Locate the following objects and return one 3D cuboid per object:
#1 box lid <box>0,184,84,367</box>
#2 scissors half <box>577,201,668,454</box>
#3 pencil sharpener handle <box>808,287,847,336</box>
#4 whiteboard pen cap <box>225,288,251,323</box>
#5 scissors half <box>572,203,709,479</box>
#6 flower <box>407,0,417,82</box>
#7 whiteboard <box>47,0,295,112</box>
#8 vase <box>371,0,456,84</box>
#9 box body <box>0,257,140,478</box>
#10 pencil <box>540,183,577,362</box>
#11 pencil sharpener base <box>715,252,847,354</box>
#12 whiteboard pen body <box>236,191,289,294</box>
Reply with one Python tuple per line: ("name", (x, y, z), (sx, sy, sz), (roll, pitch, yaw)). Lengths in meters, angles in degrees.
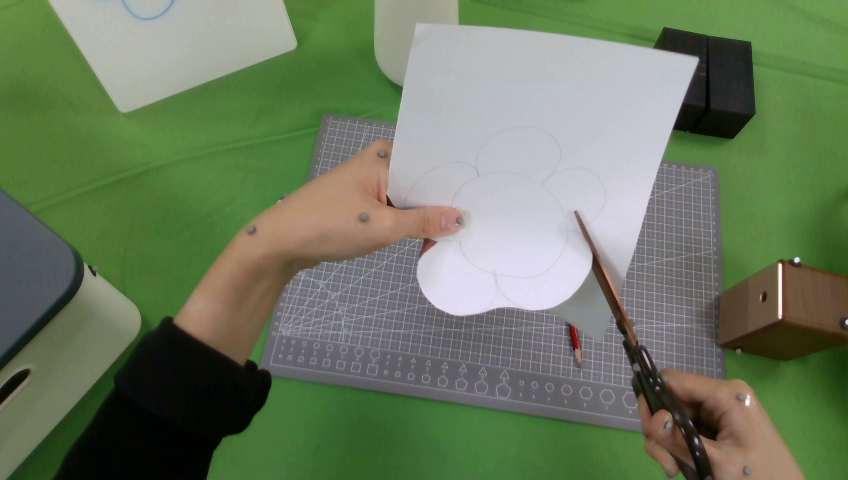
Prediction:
("box lid", (-0.472, 0.013, 0.453), (0.370, 0.015, 0.262), (34, 71, 11))
("scissors half", (0.122, 0.056, 0.369), (0.013, 0.040, 0.176), (-23, 107, 3))
("pencil sharpener handle", (0.386, 0.070, 0.557), (0.030, 0.068, 0.035), (12, 62, 0))
("whiteboard pen cap", (-0.182, 0.064, 0.597), (0.018, 0.018, 0.033), (14, 64, 4))
("scissors half", (0.122, 0.058, 0.348), (0.013, 0.040, 0.174), (-23, 84, -2))
("flower", (-0.015, -0.300, 0.561), (0.044, 0.365, 0.038), (2, 51, 3))
("whiteboard", (-0.298, -0.331, 0.629), (0.217, 0.308, 0.142), (-24, 52, -10))
("vase", (-0.012, -0.256, 0.633), (0.098, 0.201, 0.097), (0, 67, 0))
("box body", (-0.472, 0.041, 0.521), (0.362, 0.161, 0.253), (34, 72, 11))
("pencil", (0.140, 0.029, 0.626), (0.012, 0.012, 0.192), (-5, 71, -3))
("pencil sharpener base", (0.335, 0.063, 0.568), (0.077, 0.107, 0.061), (12, 68, 0))
("whiteboard pen body", (-0.168, 0.012, 0.620), (0.017, 0.017, 0.140), (15, 67, 5))
